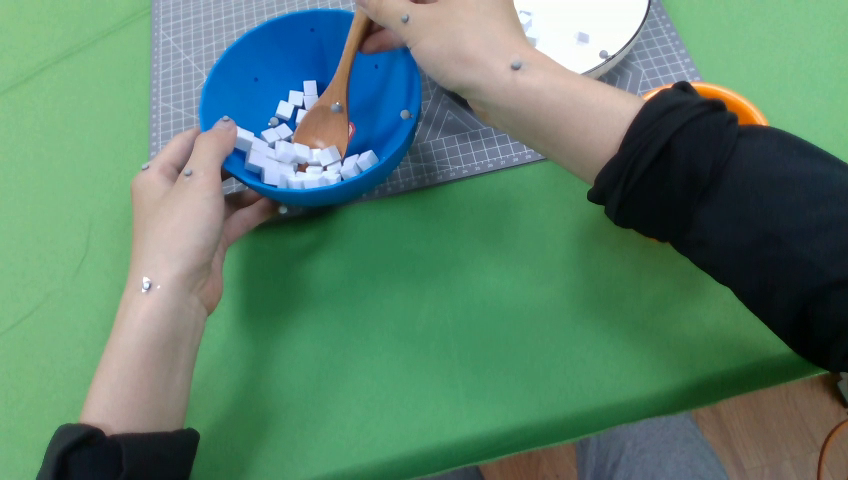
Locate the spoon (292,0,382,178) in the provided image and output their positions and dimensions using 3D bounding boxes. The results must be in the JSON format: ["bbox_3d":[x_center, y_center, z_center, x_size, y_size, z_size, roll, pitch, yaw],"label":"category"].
[{"bbox_3d":[-0.045,-0.126,0.401,0.041,0.194,0.021,32,30,9],"label":"spoon"}]

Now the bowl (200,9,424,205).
[{"bbox_3d":[-0.072,-0.082,0.438,0.151,0.077,0.150,-1,66,3],"label":"bowl"}]

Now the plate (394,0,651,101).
[{"bbox_3d":[0.079,-0.197,0.509,0.209,0.038,0.207,-3,64,6],"label":"plate"}]
